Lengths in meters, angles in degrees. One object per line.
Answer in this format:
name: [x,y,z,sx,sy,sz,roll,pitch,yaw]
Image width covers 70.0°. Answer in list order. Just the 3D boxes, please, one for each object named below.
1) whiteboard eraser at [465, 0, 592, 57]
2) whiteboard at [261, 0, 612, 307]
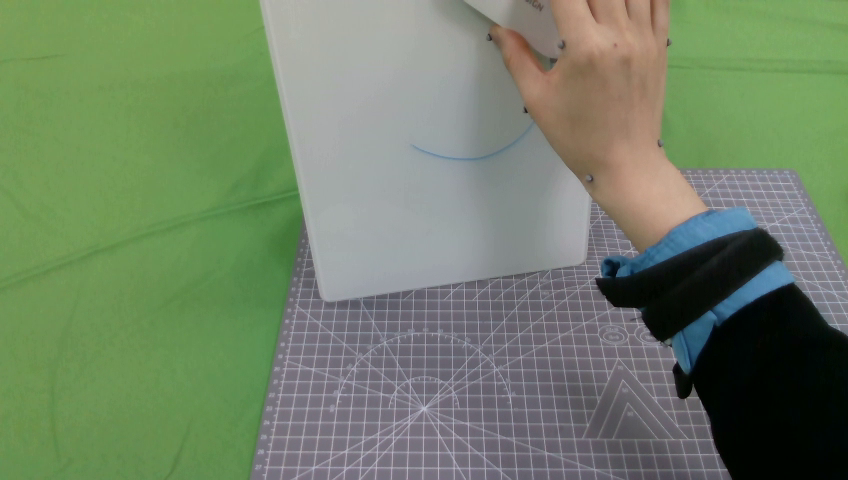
whiteboard eraser: [0.058,-0.148,0.366,0.102,0.041,0.018,25,23,-23]
whiteboard: [0.006,-0.128,0.457,0.217,0.308,0.142,-8,32,-5]
